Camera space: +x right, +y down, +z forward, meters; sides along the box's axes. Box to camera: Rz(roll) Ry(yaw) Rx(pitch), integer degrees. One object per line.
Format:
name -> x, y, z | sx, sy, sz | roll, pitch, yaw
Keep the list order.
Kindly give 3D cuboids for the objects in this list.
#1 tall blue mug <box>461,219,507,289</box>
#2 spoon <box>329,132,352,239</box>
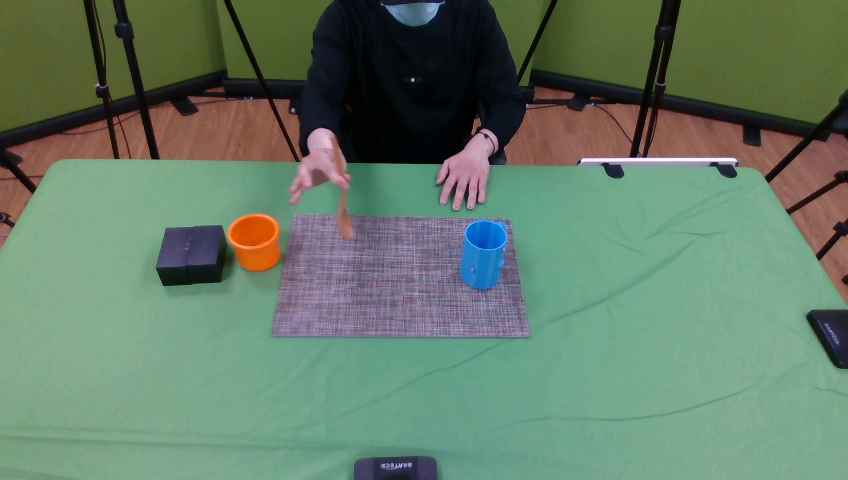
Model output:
tall blue mug -> 0.111, 0.016, 1.121 | 0.078, 0.108, 0.106 | 6, 46, 4
spoon -> -0.139, -0.088, 1.014 | 0.021, 0.194, 0.041 | 9, 32, 16
